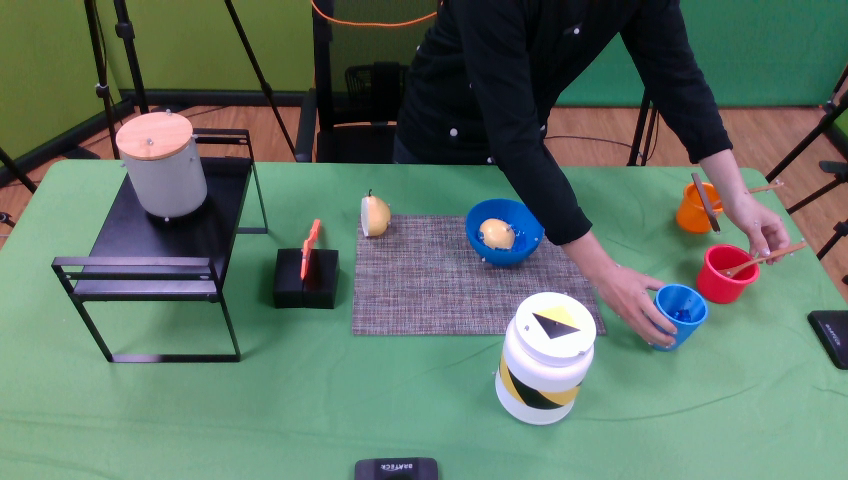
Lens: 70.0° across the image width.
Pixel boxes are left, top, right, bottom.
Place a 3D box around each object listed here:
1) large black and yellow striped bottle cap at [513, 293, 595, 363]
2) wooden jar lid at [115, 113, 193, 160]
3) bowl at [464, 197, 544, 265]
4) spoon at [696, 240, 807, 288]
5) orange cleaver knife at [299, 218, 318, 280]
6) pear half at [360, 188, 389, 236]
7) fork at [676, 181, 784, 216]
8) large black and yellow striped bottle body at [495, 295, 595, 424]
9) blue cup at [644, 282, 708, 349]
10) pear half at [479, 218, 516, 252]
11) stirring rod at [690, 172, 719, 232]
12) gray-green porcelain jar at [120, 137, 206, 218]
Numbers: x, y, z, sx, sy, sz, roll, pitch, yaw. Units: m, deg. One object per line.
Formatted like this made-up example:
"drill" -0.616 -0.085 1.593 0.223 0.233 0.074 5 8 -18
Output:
"large black and yellow striped bottle cap" 0.185 0.123 0.863 0.115 0.019 0.114 3 45 -3
"wooden jar lid" -0.399 -0.151 0.900 0.108 0.021 0.107 3 46 -3
"bowl" 0.149 -0.004 1.167 0.151 0.077 0.150 3 46 -3
"spoon" 0.601 0.043 1.117 0.194 0.022 0.041 -30 32 29
"orange cleaver knife" -0.214 0.013 1.126 0.012 0.077 0.210 5 17 -5
"pear half" -0.096 -0.060 1.181 0.056 0.110 0.076 -13 52 -17
"fork" 0.618 -0.084 1.235 0.207 0.019 0.028 -22 20 38
"large black and yellow striped bottle body" 0.183 0.181 0.923 0.131 0.185 0.130 2 46 -2
"blue cup" 0.423 0.136 1.040 0.093 0.101 0.092 3 47 -3
"pear half" 0.145 -0.013 1.167 0.070 0.031 0.087 -21 56 -18
"stirring rod" 0.566 -0.080 1.225 0.014 0.006 0.175 3 46 2
"gray-green porcelain jar" -0.403 -0.106 0.946 0.106 0.127 0.105 3 46 -2
